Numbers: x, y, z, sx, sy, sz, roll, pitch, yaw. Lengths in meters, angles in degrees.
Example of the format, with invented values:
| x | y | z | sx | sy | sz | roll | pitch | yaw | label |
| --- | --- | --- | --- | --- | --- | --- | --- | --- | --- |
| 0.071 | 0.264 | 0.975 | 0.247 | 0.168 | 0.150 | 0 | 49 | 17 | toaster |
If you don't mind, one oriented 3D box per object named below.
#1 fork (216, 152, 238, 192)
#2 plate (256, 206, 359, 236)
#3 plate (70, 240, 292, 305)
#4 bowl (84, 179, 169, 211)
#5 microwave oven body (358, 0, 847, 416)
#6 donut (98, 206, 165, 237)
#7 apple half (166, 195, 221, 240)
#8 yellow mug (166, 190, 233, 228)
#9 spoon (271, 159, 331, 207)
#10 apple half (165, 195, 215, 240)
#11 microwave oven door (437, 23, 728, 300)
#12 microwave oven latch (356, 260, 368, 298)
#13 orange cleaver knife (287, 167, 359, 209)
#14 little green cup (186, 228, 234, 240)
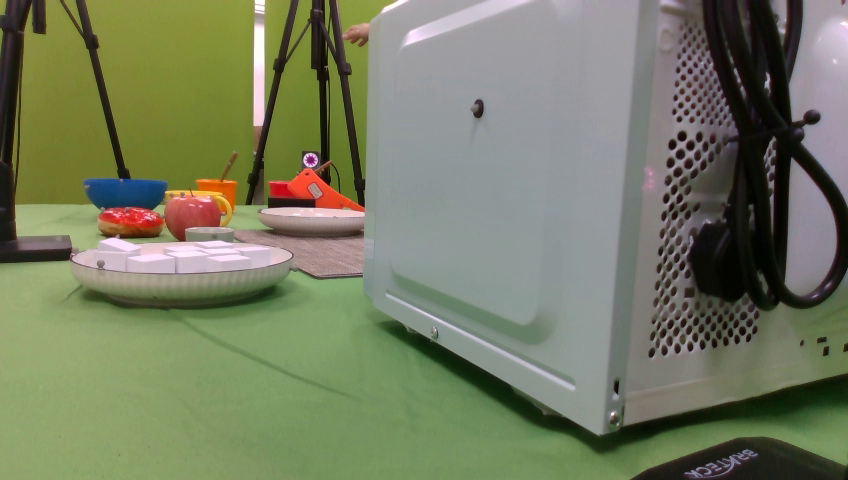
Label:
| x | y | z | sx | sy | sz | roll | pitch | yaw | label |
| --- | --- | --- | --- | --- | --- | --- | --- | --- | --- |
| -0.455 | -0.132 | 1.366 | 0.028 | 0.018 | 0.207 | -2 | -35 | -37 | fork |
| -0.202 | -0.037 | 1.120 | 0.209 | 0.038 | 0.209 | 2 | 8 | 0 | plate |
| -0.242 | 0.031 | 0.618 | 0.208 | 0.039 | 0.207 | 2 | 8 | 0 | plate |
| -0.584 | -0.078 | 1.194 | 0.151 | 0.077 | 0.151 | 3 | 8 | 0 | bowl |
| 0.211 | -0.047 | 0.475 | 0.444 | 0.260 | 0.324 | -1 | 8 | -28 | microwave oven body |
| -0.472 | -0.028 | 0.979 | 0.099 | 0.048 | 0.099 | 5 | 8 | 0 | donut |
| -0.352 | -0.031 | 0.935 | 0.081 | 0.074 | 0.053 | 1 | 11 | -40 | apple half |
| -0.415 | -0.057 | 1.132 | 0.130 | 0.064 | 0.100 | 6 | 8 | 16 | yellow mug |
| -0.307 | -0.141 | 1.513 | 0.193 | 0.021 | 0.041 | -42 | 3 | 8 | spoon |
| -0.377 | -0.038 | 0.964 | 0.082 | 0.081 | 0.032 | -4 | 15 | -39 | apple half |
| 0.181 | -0.072 | 0.621 | 0.358 | 0.243 | 0.039 | -2 | 8 | -29 | microwave oven door |
| -0.020 | 0.033 | 0.530 | 0.079 | 0.029 | 0.030 | 0 | 7 | -26 | microwave oven latch |
| -0.209 | -0.089 | 1.383 | 0.212 | 0.077 | 0.012 | 31 | 4 | -15 | orange cleaver knife |
| -0.284 | 0.005 | 0.805 | 0.061 | 0.038 | 0.061 | 2 | 8 | 0 | little green cup |
